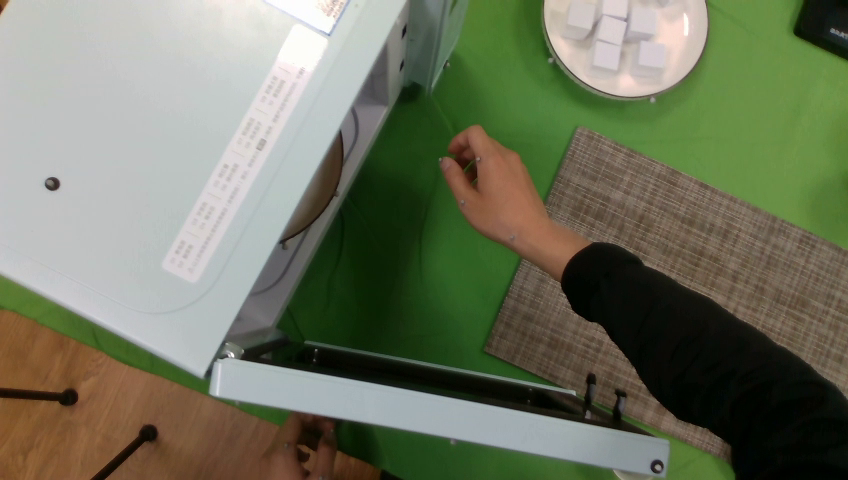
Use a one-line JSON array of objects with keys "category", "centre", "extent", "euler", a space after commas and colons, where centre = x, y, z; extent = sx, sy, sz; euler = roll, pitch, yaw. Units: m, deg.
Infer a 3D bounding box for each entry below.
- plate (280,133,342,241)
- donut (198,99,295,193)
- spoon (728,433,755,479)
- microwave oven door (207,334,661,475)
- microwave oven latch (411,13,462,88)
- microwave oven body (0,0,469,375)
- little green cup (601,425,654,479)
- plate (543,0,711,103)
[{"category": "plate", "centre": [-0.190, -0.093, 0.639], "extent": [0.209, 0.038, 0.208], "euler": [0, 85, -4]}, {"category": "donut", "centre": [-0.184, -0.097, 0.629], "extent": [0.099, 0.048, 0.099], "euler": [0, 87, 1]}, {"category": "spoon", "centre": [0.392, 0.323, 0.716], "extent": [0.042, 0.021, 0.193], "euler": [-11, 87, -21]}, {"category": "microwave oven door", "centre": [0.005, 0.146, 0.576], "extent": [0.356, 0.244, 0.039], "euler": [11, 83, -3]}, {"category": "microwave oven latch", "centre": [0.014, -0.220, 0.709], "extent": [0.030, 0.029, 0.079], "euler": [32, 84, -1]}, {"category": "microwave oven body", "centre": [-0.192, -0.142, 0.590], "extent": [0.326, 0.260, 0.441], "euler": [28, 84, -2]}, {"category": "little green cup", "centre": [0.232, 0.245, 0.704], "extent": [0.061, 0.038, 0.061], "euler": [1, 82, -4]}, {"category": "plate", "centre": [0.247, -0.268, 0.749], "extent": [0.208, 0.039, 0.207], "euler": [0, 85, -4]}]
